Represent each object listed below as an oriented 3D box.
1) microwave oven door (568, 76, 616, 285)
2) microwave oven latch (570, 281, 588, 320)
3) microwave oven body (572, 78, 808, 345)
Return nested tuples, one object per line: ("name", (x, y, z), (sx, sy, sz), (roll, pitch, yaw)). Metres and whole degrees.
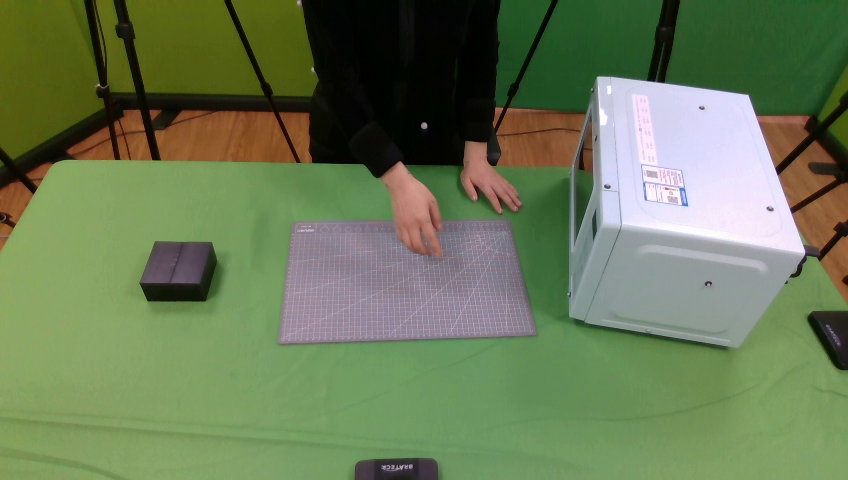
("microwave oven door", (0.319, -0.119, 1.161), (0.039, 0.245, 0.354), (9, 46, 5))
("microwave oven latch", (0.275, 0.105, 1.082), (0.030, 0.029, 0.079), (10, 45, 6))
("microwave oven body", (0.456, -0.063, 1.124), (0.326, 0.261, 0.439), (8, 45, 5))
